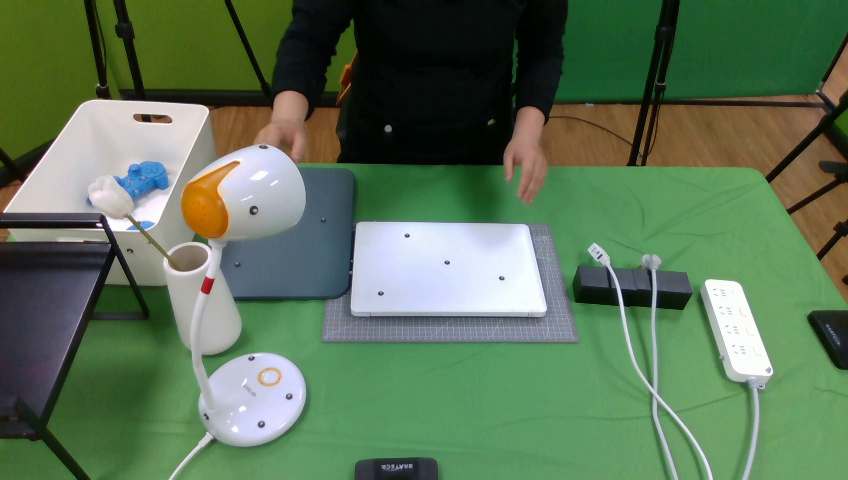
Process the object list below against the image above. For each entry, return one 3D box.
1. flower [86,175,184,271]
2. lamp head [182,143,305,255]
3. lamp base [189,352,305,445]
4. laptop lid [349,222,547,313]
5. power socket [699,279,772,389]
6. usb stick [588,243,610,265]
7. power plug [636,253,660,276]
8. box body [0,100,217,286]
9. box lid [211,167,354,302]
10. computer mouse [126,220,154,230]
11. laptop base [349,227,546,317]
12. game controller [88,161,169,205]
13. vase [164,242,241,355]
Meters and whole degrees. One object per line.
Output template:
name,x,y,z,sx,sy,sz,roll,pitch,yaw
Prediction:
flower,-0.365,0.038,0.894,0.038,0.364,0.044,-4,53,15
lamp head,-0.216,-0.044,0.697,0.112,0.113,0.123,23,31,17
lamp base,-0.268,0.196,0.876,0.160,0.181,0.179,26,52,20
laptop lid,0.041,0.045,1.143,0.357,0.013,0.240,2,44,-3
power socket,0.551,0.157,1.081,0.072,0.033,0.225,5,47,1
usb stick,0.336,0.025,1.172,0.027,0.021,0.059,32,17,-12
power plug,0.415,0.050,1.139,0.035,0.053,0.072,47,48,10
box body,-0.560,-0.092,1.145,0.254,0.161,0.361,3,46,-2
box lid,-0.277,-0.024,1.205,0.263,0.015,0.369,0,46,-4
computer mouse,-0.537,0.008,1.127,0.062,0.041,0.117,32,56,20
laptop base,0.040,0.055,1.149,0.355,0.023,0.234,1,42,-4
game controller,-0.597,-0.113,1.234,0.097,0.052,0.155,29,52,19
vase,-0.349,0.096,0.954,0.098,0.201,0.097,3,47,-3
